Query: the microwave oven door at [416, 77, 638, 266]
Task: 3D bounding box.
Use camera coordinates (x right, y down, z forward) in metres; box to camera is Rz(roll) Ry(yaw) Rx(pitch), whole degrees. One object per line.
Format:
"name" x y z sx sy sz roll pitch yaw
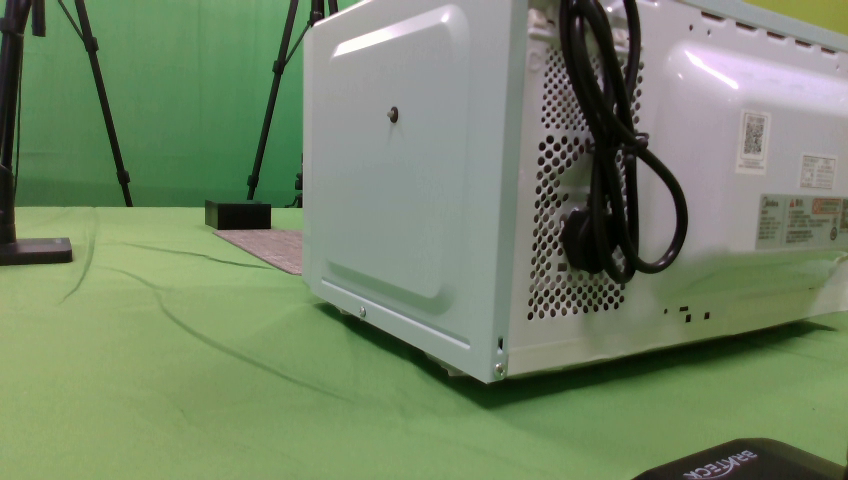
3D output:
"microwave oven door" 0.131 -0.105 0.891 0.354 0.243 0.039 9 10 42

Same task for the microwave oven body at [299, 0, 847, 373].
"microwave oven body" 0.151 -0.055 0.542 0.444 0.260 0.324 -2 7 -33

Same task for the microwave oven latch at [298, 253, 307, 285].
"microwave oven latch" -0.081 0.027 0.582 0.079 0.029 0.030 -1 7 -32
